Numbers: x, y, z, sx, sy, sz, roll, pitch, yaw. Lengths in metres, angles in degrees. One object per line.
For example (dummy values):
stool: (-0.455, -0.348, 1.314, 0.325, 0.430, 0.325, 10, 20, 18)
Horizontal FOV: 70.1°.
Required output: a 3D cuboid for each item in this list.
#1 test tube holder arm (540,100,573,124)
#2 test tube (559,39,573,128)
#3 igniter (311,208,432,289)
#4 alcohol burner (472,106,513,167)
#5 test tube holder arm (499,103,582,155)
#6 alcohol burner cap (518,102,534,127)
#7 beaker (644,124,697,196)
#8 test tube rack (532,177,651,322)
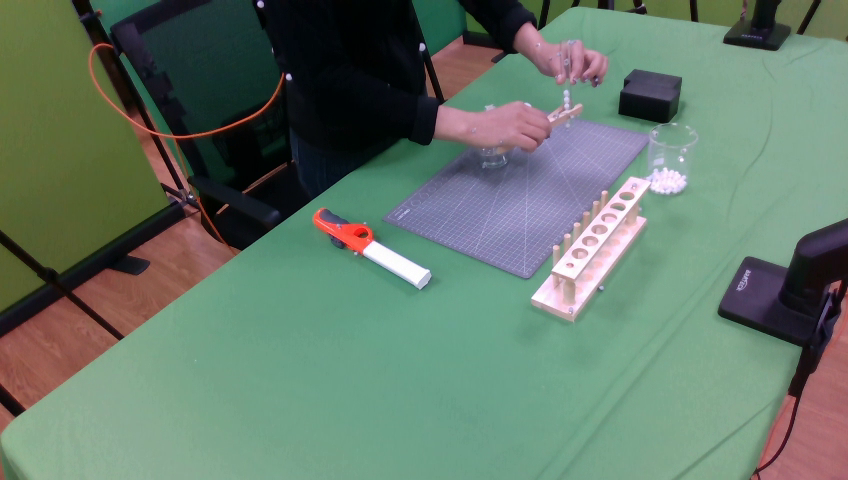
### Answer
test tube holder arm: (0.218, -0.204, 0.991, 0.010, 0.015, 0.088, 24, 50, 34)
test tube: (0.228, -0.249, 0.972, 0.017, 0.151, 0.017, -8, 37, 7)
igniter: (-0.096, 0.008, 0.985, 0.274, 0.025, 0.057, 28, 62, 36)
alcohol burner: (0.126, -0.194, 1.111, 0.078, 0.119, 0.077, -5, 42, 5)
test tube holder arm: (0.188, -0.179, 0.967, 0.179, 0.015, 0.013, -32, 43, -25)
alcohol burner cap: (0.205, -0.255, 1.223, 0.034, 0.048, 0.033, -6, 41, 6)
beaker: (0.407, -0.131, 1.001, 0.084, 0.101, 0.073, -20, 42, -13)
test tube rack: (0.248, 0.003, 0.883, 0.066, 0.085, 0.243, 22, 49, 32)
